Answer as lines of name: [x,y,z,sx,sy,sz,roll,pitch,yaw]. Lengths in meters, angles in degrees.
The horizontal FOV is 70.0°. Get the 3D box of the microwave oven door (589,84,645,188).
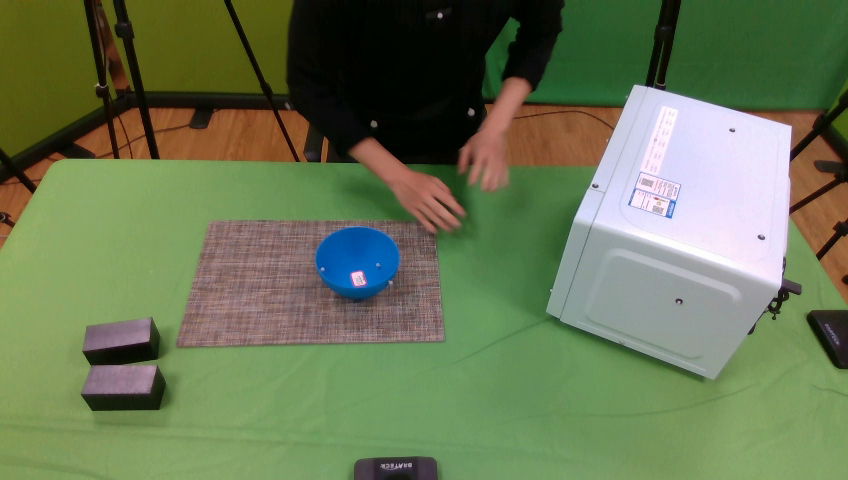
microwave oven door: [0.348,-0.107,1.147,0.039,0.245,0.354,18,48,18]

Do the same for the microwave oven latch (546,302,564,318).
microwave oven latch: [0.242,0.102,1.081,0.030,0.029,0.079,22,48,17]

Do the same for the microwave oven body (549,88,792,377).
microwave oven body: [0.456,-0.028,1.088,0.325,0.261,0.440,20,47,16]

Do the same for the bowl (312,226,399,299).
bowl: [-0.120,0.054,1.091,0.151,0.077,0.150,2,46,-2]
